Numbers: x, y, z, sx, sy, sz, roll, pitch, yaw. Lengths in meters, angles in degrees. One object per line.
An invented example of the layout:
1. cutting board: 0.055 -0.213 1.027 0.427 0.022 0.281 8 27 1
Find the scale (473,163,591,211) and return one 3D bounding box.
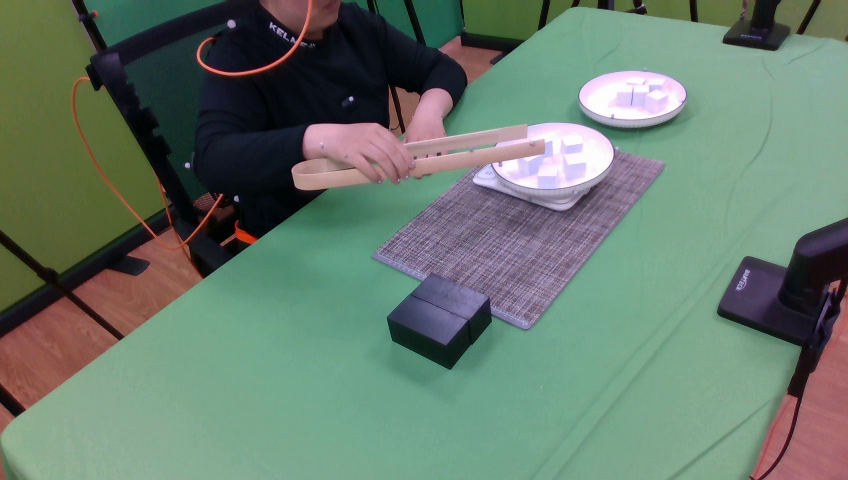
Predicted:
1. scale: 0.202 -0.121 1.074 0.199 0.032 0.149 23 49 33

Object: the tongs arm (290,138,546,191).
1. tongs arm: -0.007 -0.119 0.913 0.386 0.026 0.050 -11 32 -9

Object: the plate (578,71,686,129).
1. plate: 0.416 -0.280 1.222 0.209 0.038 0.208 -5 41 5

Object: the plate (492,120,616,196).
1. plate: 0.221 -0.137 1.038 0.207 0.039 0.206 -6 41 5

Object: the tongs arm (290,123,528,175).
1. tongs arm: -0.016 -0.140 0.953 0.389 0.028 0.028 -12 35 -11
